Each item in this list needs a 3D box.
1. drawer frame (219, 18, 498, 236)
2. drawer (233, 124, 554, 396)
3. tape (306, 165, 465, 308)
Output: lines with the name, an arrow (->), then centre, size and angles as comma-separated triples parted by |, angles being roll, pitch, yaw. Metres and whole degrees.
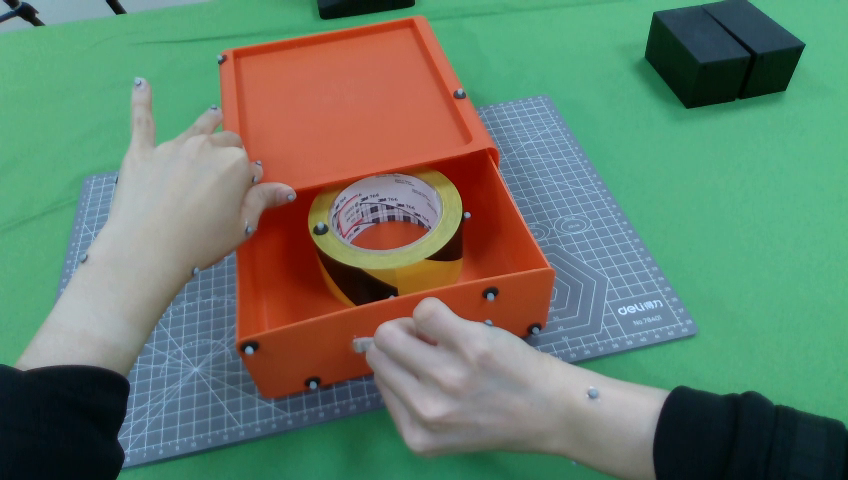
drawer frame -> -0.066, -0.092, 0.520 | 0.202, 0.083, 0.211 | -14, 47, -8
drawer -> -0.036, -0.010, 0.445 | 0.195, 0.074, 0.209 | -13, 47, -7
tape -> -0.028, -0.005, 0.448 | 0.117, 0.053, 0.115 | -1, 47, 2
